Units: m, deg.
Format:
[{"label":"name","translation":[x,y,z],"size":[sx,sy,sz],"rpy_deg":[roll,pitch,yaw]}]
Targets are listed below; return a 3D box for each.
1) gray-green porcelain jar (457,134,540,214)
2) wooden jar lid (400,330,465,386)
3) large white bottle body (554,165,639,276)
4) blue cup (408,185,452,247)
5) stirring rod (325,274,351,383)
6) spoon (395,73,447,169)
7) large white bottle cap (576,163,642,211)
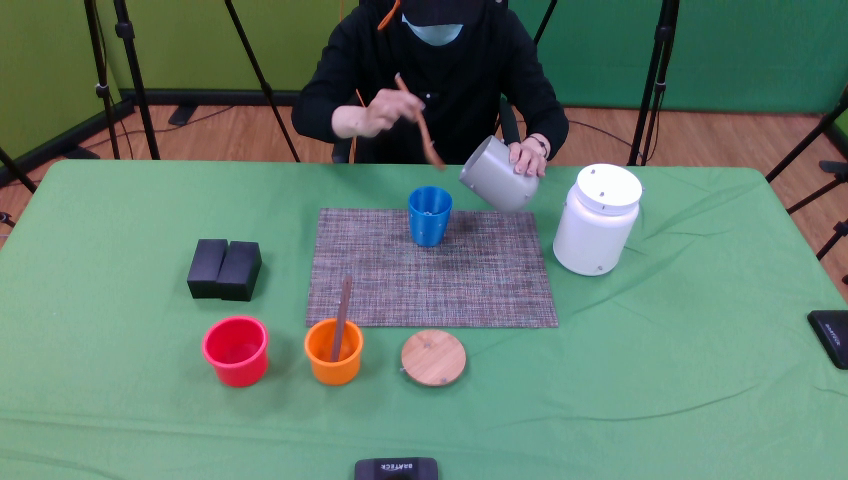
[{"label":"gray-green porcelain jar","translation":[0.143,-0.118,1.133],"size":[0.127,0.106,0.105],"rpy_deg":[36,48,-9]},{"label":"wooden jar lid","translation":[0.015,0.198,1.008],"size":[0.108,0.021,0.107],"rpy_deg":[2,47,-2]},{"label":"large white bottle body","translation":[0.326,-0.037,1.141],"size":[0.131,0.185,0.130],"rpy_deg":[2,46,-2]},{"label":"blue cup","translation":[0.008,-0.041,1.176],"size":[0.093,0.101,0.092],"rpy_deg":[3,47,-3]},{"label":"stirring rod","translation":[-0.137,0.142,0.971],"size":[0.014,0.006,0.176],"rpy_deg":[10,89,0]},{"label":"spoon","translation":[-0.006,-0.216,1.101],"size":[0.021,0.041,0.193],"rpy_deg":[-23,92,-3]},{"label":"large white bottle cap","translation":[0.330,-0.096,1.080],"size":[0.115,0.018,0.114],"rpy_deg":[2,46,-2]}]
